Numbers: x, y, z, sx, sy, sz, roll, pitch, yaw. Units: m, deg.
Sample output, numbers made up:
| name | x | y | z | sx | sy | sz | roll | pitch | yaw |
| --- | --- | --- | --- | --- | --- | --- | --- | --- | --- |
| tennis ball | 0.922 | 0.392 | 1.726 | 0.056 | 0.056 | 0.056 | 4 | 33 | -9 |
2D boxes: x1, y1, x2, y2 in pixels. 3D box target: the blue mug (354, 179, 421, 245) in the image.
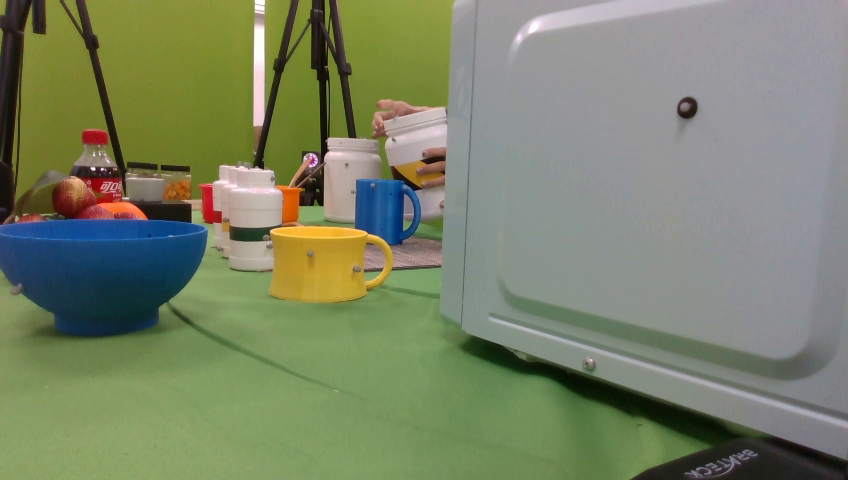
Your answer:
| name | x | y | z | sx | sy | sz | roll | pitch | yaw |
| --- | --- | --- | --- | --- | --- | --- | --- | --- | --- |
| blue mug | -0.060 | -0.047 | 1.006 | 0.116 | 0.106 | 0.082 | 5 | 8 | 20 |

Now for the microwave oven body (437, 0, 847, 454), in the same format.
| name | x | y | z | sx | sy | sz | roll | pitch | yaw |
| --- | --- | --- | --- | --- | --- | --- | --- | --- | --- |
| microwave oven body | 0.279 | -0.040 | 0.464 | 0.444 | 0.260 | 0.324 | -3 | 9 | -41 |

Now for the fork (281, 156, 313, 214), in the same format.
| name | x | y | z | sx | sy | sz | roll | pitch | yaw |
| --- | --- | --- | --- | --- | --- | --- | --- | --- | --- |
| fork | -0.289 | -0.116 | 1.320 | 0.028 | 0.019 | 0.207 | -2 | 48 | 27 |

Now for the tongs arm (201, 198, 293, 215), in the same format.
| name | x | y | z | sx | sy | sz | roll | pitch | yaw |
| --- | --- | --- | --- | --- | --- | --- | --- | --- | --- |
| tongs arm | -0.423 | -0.084 | 1.472 | 0.050 | 0.026 | 0.386 | 2 | 6 | 21 |

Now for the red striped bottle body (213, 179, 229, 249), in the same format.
| name | x | y | z | sx | sy | sz | roll | pitch | yaw |
| --- | --- | --- | --- | --- | --- | --- | --- | --- | --- |
| red striped bottle body | -0.284 | -0.047 | 0.908 | 0.063 | 0.119 | 0.063 | 2 | 8 | 0 |

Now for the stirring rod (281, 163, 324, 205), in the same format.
| name | x | y | z | sx | sy | sz | roll | pitch | yaw |
| --- | --- | --- | --- | --- | --- | --- | --- | --- | --- |
| stirring rod | -0.278 | -0.105 | 1.293 | 0.176 | 0.006 | 0.014 | -47 | 25 | -18 |

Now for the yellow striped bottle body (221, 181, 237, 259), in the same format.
| name | x | y | z | sx | sy | sz | roll | pitch | yaw |
| --- | --- | --- | --- | --- | --- | --- | --- | --- | --- |
| yellow striped bottle body | -0.244 | -0.035 | 0.823 | 0.063 | 0.120 | 0.063 | 2 | 8 | 0 |

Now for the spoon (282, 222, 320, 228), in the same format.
| name | x | y | z | sx | sy | sz | roll | pitch | yaw |
| --- | --- | --- | --- | --- | --- | --- | --- | --- | --- |
| spoon | -0.227 | -0.023 | 1.085 | 0.042 | 0.021 | 0.193 | -24 | 18 | -23 |

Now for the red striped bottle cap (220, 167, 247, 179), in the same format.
| name | x | y | z | sx | sy | sz | roll | pitch | yaw |
| --- | --- | --- | --- | --- | --- | --- | --- | --- | --- |
| red striped bottle cap | -0.281 | -0.100 | 0.901 | 0.044 | 0.017 | 0.044 | -1 | 5 | 0 |

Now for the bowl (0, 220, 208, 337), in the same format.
| name | x | y | z | sx | sy | sz | roll | pitch | yaw |
| --- | --- | --- | --- | --- | --- | --- | --- | --- | --- |
| bowl | -0.251 | 0.029 | 0.479 | 0.151 | 0.077 | 0.151 | 2 | 7 | 0 |

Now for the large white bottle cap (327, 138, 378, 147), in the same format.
| name | x | y | z | sx | sy | sz | roll | pitch | yaw |
| --- | --- | --- | --- | --- | --- | --- | --- | --- | --- |
| large white bottle cap | -0.160 | -0.218 | 1.357 | 0.115 | 0.018 | 0.115 | 2 | 8 | 0 |

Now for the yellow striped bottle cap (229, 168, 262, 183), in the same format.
| name | x | y | z | sx | sy | sz | roll | pitch | yaw |
| --- | --- | --- | --- | --- | --- | --- | --- | --- | --- |
| yellow striped bottle cap | -0.240 | -0.087 | 0.816 | 0.044 | 0.018 | 0.044 | -2 | 5 | 1 |

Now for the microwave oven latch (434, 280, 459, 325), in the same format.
| name | x | y | z | sx | sy | sz | roll | pitch | yaw |
| --- | --- | --- | --- | --- | --- | --- | --- | --- | --- |
| microwave oven latch | 0.044 | 0.045 | 0.470 | 0.079 | 0.029 | 0.030 | -2 | 8 | -39 |

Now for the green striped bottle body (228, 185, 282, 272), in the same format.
| name | x | y | z | sx | sy | sz | roll | pitch | yaw |
| --- | --- | --- | --- | --- | --- | --- | --- | --- | --- |
| green striped bottle body | -0.208 | -0.023 | 0.745 | 0.063 | 0.119 | 0.063 | 2 | 7 | 0 |

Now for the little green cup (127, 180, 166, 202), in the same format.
| name | x | y | z | sx | sy | sz | roll | pitch | yaw |
| --- | --- | --- | --- | --- | --- | --- | --- | --- | --- |
| little green cup | -0.486 | -0.086 | 1.061 | 0.061 | 0.038 | 0.061 | 1 | 7 | 0 |

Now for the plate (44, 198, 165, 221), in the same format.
| name | x | y | z | sx | sy | sz | roll | pitch | yaw |
| --- | --- | --- | --- | --- | --- | --- | --- | --- | --- |
| plate | -0.617 | -0.056 | 1.179 | 0.209 | 0.038 | 0.209 | 3 | 7 | 0 |

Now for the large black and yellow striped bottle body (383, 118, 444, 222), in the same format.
| name | x | y | z | sx | sy | sz | roll | pitch | yaw |
| --- | --- | --- | --- | --- | --- | --- | --- | --- | --- |
| large black and yellow striped bottle body | 0.000 | -0.136 | 1.101 | 0.131 | 0.184 | 0.130 | -13 | 12 | 3 |

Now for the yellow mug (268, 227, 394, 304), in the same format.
| name | x | y | z | sx | sy | sz | roll | pitch | yaw |
| --- | --- | --- | --- | --- | --- | --- | --- | --- | --- |
| yellow mug | -0.094 | 0.023 | 0.629 | 0.131 | 0.064 | 0.099 | 0 | 8 | -22 |

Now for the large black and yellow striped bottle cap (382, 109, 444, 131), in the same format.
| name | x | y | z | sx | sy | sz | roll | pitch | yaw |
| --- | --- | --- | --- | --- | --- | --- | --- | --- | --- |
| large black and yellow striped bottle cap | -0.019 | -0.216 | 1.085 | 0.115 | 0.019 | 0.115 | -12 | 11 | 3 |

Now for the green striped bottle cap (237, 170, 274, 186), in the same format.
| name | x | y | z | sx | sy | sz | roll | pitch | yaw |
| --- | --- | --- | --- | --- | --- | --- | --- | --- | --- |
| green striped bottle cap | -0.205 | -0.075 | 0.737 | 0.044 | 0.020 | 0.044 | 1 | 7 | 0 |

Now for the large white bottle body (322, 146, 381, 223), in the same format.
| name | x | y | z | sx | sy | sz | roll | pitch | yaw |
| --- | --- | --- | --- | --- | --- | --- | --- | --- | --- |
| large white bottle body | -0.163 | -0.135 | 1.368 | 0.131 | 0.184 | 0.130 | 2 | 7 | 0 |

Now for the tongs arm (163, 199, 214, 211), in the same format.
| name | x | y | z | sx | sy | sz | roll | pitch | yaw |
| --- | --- | --- | --- | --- | --- | --- | --- | --- | --- |
| tongs arm | -0.504 | -0.091 | 1.513 | 0.028 | 0.028 | 0.389 | -1 | 4 | 37 |

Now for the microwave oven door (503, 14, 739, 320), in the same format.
| name | x | y | z | sx | sy | sz | roll | pitch | yaw |
| --- | --- | --- | --- | --- | --- | --- | --- | --- | --- |
| microwave oven door | 0.217 | -0.065 | 0.600 | 0.358 | 0.243 | 0.039 | -4 | 10 | -41 |
